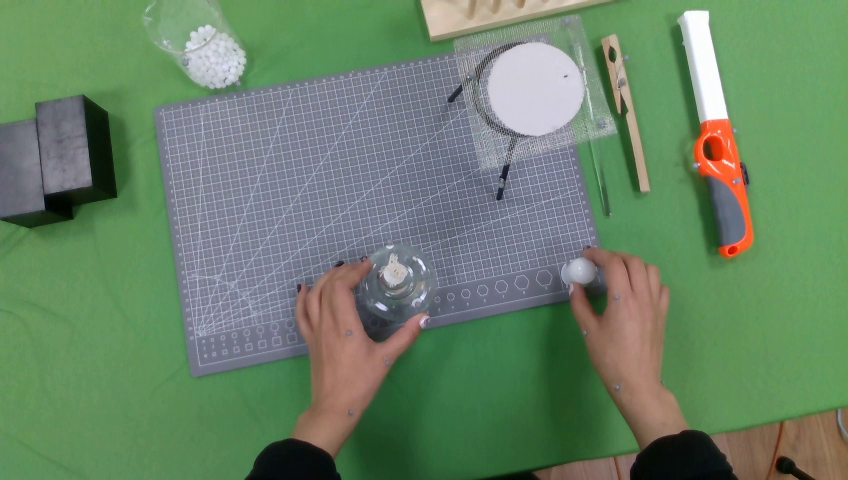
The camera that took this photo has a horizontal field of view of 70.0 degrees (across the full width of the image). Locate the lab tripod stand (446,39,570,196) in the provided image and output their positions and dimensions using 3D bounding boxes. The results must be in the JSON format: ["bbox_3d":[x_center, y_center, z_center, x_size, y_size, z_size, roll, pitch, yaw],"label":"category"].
[{"bbox_3d":[0.083,-0.130,0.605,0.148,0.132,0.148,0,82,2],"label":"lab tripod stand"}]

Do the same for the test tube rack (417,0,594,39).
[{"bbox_3d":[0.113,-0.295,0.657,0.242,0.085,0.066,-14,81,-2],"label":"test tube rack"}]

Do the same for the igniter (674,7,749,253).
[{"bbox_3d":[0.314,-0.123,0.662,0.057,0.025,0.275,-5,82,-11],"label":"igniter"}]

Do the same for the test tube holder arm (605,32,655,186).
[{"bbox_3d":[0.225,-0.144,0.666,0.013,0.015,0.177,-21,79,35],"label":"test tube holder arm"}]

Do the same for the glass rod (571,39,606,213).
[{"bbox_3d":[0.183,-0.127,0.672,0.008,0.008,0.199,-8,85,-2],"label":"glass rod"}]

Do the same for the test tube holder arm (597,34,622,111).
[{"bbox_3d":[0.210,-0.186,0.676,0.010,0.015,0.087,-18,80,36],"label":"test tube holder arm"}]

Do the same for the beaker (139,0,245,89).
[{"bbox_3d":[-0.238,-0.210,0.636,0.084,0.100,0.074,7,81,2],"label":"beaker"}]

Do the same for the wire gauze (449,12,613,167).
[{"bbox_3d":[0.093,-0.137,0.539,0.121,0.011,0.124,-13,81,0],"label":"wire gauze"}]

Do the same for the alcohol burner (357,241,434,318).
[{"bbox_3d":[-0.029,0.036,0.592,0.078,0.119,0.077,0,79,2],"label":"alcohol burner"}]

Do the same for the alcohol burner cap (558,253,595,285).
[{"bbox_3d":[0.161,0.028,0.629,0.034,0.048,0.033,0,81,0],"label":"alcohol burner cap"}]
